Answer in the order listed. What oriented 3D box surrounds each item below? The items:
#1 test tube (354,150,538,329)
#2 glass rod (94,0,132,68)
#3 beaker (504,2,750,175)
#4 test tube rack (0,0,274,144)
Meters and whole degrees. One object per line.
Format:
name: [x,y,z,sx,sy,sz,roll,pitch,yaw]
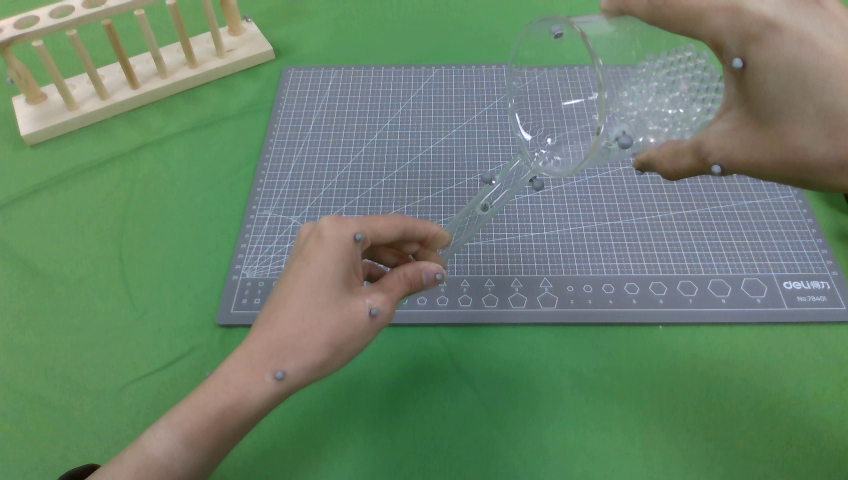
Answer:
test tube: [0.007,0.005,0.347,0.017,0.150,0.017,34,28,-21]
glass rod: [-0.289,-0.225,0.520,0.008,0.201,0.008,1,54,-1]
beaker: [0.101,-0.076,0.302,0.100,0.084,0.073,-14,55,-22]
test tube rack: [-0.276,-0.185,0.572,0.242,0.086,0.066,-26,55,-17]
